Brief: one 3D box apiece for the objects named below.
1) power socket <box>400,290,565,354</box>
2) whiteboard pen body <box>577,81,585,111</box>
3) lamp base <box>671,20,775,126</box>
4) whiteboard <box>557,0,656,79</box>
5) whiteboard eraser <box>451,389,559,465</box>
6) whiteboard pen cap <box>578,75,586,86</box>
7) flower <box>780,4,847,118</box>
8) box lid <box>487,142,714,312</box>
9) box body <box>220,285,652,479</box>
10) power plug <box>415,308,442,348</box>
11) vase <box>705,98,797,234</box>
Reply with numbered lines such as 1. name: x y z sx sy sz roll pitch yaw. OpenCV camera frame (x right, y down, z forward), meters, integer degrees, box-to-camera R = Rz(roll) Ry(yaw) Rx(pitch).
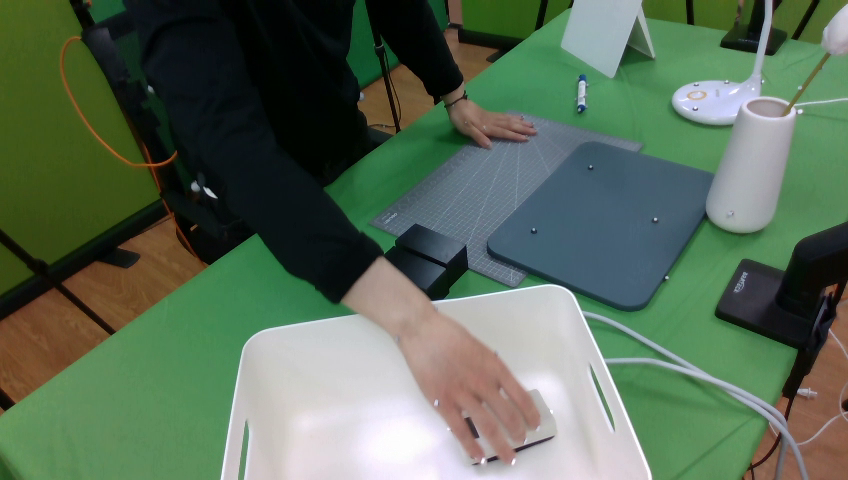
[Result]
1. power socket: 0.079 0.111 0.823 0.227 0.033 0.072 -6 41 1
2. whiteboard pen body: 0.335 -0.313 1.292 0.017 0.017 0.140 3 40 12
3. lamp base: 0.581 -0.332 1.154 0.179 0.181 0.160 2 42 7
4. whiteboard: 0.462 -0.542 1.367 0.145 0.306 0.215 -3 36 -25
5. whiteboard eraser: 0.091 0.213 0.683 0.113 0.042 0.055 -17 36 -8
6. whiteboard pen cap: 0.349 -0.351 1.334 0.018 0.018 0.033 3 39 12
7. flower: 0.480 -0.157 0.824 0.044 0.362 0.038 -9 56 -9
8. box lid: 0.298 -0.041 0.986 0.261 0.015 0.372 23 49 30
9. box body: 0.005 0.211 0.616 0.364 0.161 0.252 -9 40 -2
10. power plug: 0.004 0.121 0.786 0.035 0.053 0.072 2 45 8
11. vase: 0.480 -0.104 0.888 0.098 0.201 0.097 -4 42 4
